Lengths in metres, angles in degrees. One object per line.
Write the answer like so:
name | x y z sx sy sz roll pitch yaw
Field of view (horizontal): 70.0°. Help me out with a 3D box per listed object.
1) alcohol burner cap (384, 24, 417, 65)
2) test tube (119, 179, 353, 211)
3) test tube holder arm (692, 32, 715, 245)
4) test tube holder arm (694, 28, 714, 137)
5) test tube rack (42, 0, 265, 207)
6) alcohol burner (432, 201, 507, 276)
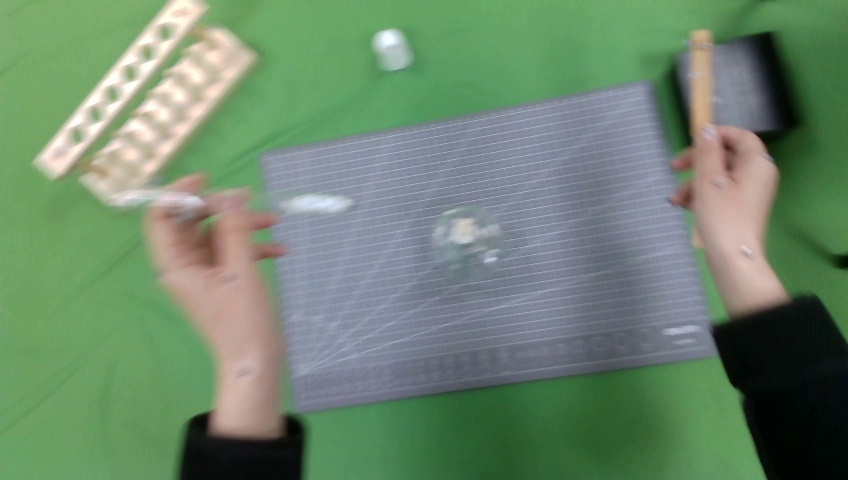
alcohol burner cap | -0.028 -0.222 0.678 0.034 0.048 0.033 -2 77 9
test tube | -0.118 -0.029 0.401 0.151 0.017 0.017 0 80 -30
test tube holder arm | 0.235 -0.085 0.510 0.015 0.013 0.178 2 96 33
test tube holder arm | 0.232 -0.130 0.502 0.015 0.010 0.088 2 95 33
test tube rack | -0.296 -0.156 0.678 0.066 0.085 0.242 41 88 10
alcohol burner | 0.044 -0.005 0.604 0.078 0.119 0.077 -1 80 8
